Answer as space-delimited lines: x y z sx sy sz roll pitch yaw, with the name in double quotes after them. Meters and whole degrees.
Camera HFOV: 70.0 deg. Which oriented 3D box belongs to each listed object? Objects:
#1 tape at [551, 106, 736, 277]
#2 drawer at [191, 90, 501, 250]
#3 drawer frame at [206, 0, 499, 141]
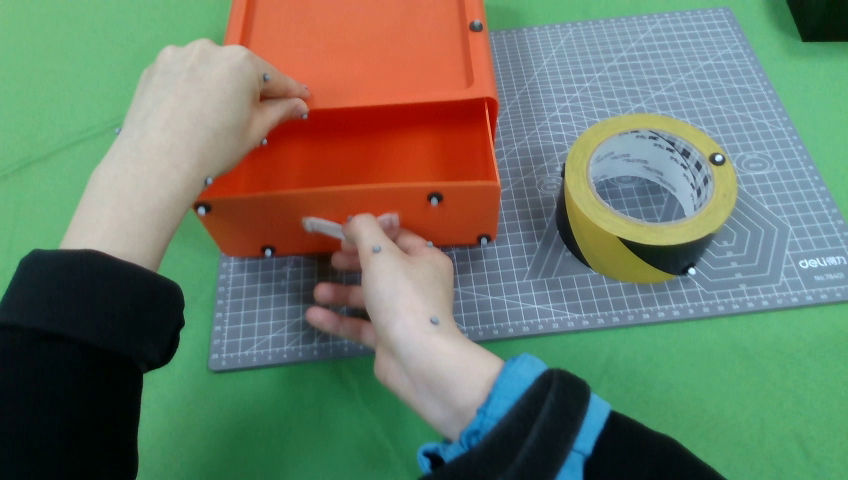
0.150 -0.034 0.420 0.117 0.053 0.116 -2 60 3 "tape"
-0.050 -0.100 0.451 0.194 0.074 0.210 -3 59 2 "drawer"
-0.053 -0.162 0.489 0.202 0.083 0.211 -5 58 1 "drawer frame"
